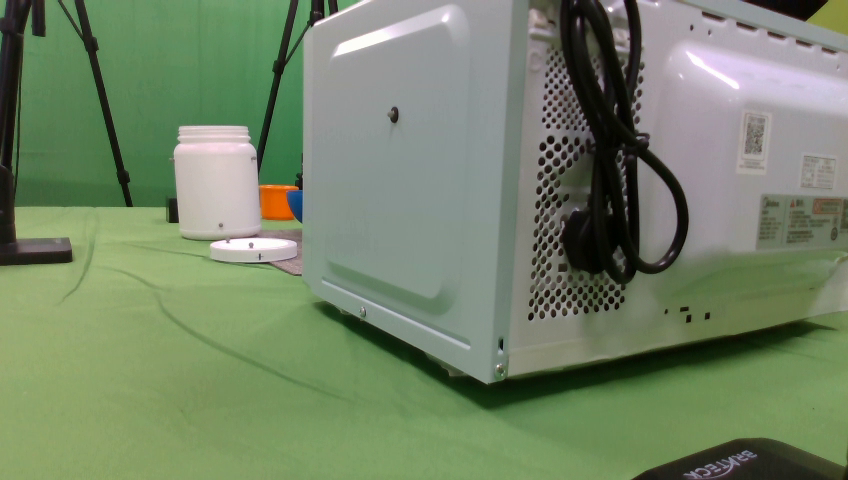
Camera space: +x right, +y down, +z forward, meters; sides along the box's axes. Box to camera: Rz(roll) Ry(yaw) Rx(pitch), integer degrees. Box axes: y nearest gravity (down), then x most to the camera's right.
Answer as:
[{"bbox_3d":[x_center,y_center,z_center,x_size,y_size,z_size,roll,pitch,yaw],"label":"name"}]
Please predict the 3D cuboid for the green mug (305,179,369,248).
[{"bbox_3d":[-0.133,-0.044,0.977,0.092,0.105,0.126,6,8,32],"label":"green mug"}]

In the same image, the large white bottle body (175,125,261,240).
[{"bbox_3d":[-0.349,-0.100,1.025,0.131,0.184,0.130,-1,9,0],"label":"large white bottle body"}]

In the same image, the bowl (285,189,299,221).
[{"bbox_3d":[-0.180,-0.051,1.113,0.151,0.077,0.151,3,8,0],"label":"bowl"}]

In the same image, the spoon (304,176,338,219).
[{"bbox_3d":[-0.201,-0.084,1.146,0.042,0.021,0.193,3,30,-25],"label":"spoon"}]

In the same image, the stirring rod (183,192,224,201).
[{"bbox_3d":[-0.474,-0.094,1.293,0.175,0.006,0.014,12,5,44],"label":"stirring rod"}]

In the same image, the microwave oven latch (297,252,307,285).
[{"bbox_3d":[-0.082,0.027,0.582,0.079,0.029,0.030,-1,7,-32],"label":"microwave oven latch"}]

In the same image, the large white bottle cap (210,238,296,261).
[{"bbox_3d":[-0.236,0.012,0.839,0.115,0.018,0.115,1,7,0],"label":"large white bottle cap"}]

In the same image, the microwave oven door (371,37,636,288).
[{"bbox_3d":[0.109,-0.080,0.686,0.358,0.243,0.039,-2,9,-33],"label":"microwave oven door"}]

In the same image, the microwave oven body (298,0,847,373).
[{"bbox_3d":[0.151,-0.055,0.543,0.444,0.260,0.324,-1,8,-33],"label":"microwave oven body"}]
